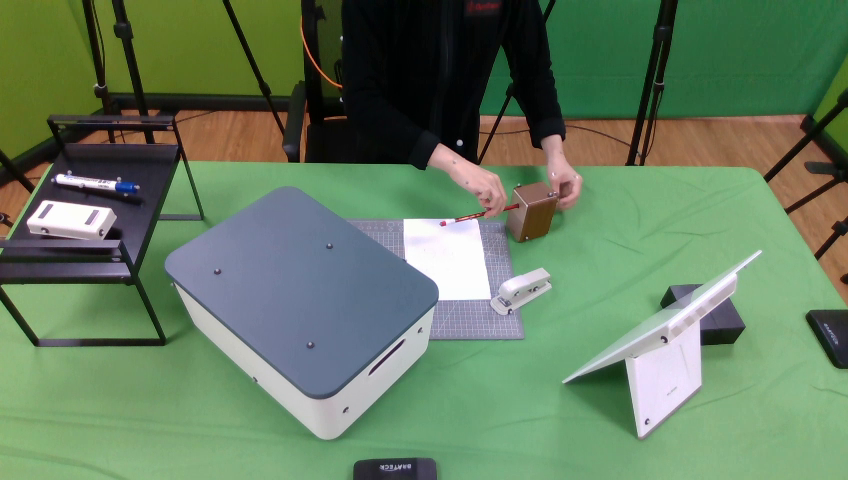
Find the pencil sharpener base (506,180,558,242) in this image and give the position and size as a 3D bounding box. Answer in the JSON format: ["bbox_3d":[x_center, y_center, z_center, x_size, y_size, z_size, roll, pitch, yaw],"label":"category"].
[{"bbox_3d":[0.216,-0.058,1.211,0.077,0.107,0.061,-16,49,-19],"label":"pencil sharpener base"}]

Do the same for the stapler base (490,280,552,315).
[{"bbox_3d":[0.181,0.094,1.118,0.130,0.024,0.041,-24,57,-29],"label":"stapler base"}]

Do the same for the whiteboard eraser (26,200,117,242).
[{"bbox_3d":[-0.532,-0.026,0.919,0.113,0.042,0.055,7,45,3],"label":"whiteboard eraser"}]

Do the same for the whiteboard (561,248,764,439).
[{"bbox_3d":[0.386,0.176,0.905,0.217,0.306,0.143,-26,72,-27],"label":"whiteboard"}]

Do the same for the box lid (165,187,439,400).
[{"bbox_3d":[-0.186,0.060,0.925,0.370,0.015,0.263,32,53,25],"label":"box lid"}]

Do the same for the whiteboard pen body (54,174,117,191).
[{"bbox_3d":[-0.541,-0.093,0.993,0.140,0.017,0.017,7,46,9],"label":"whiteboard pen body"}]

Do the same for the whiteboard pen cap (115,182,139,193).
[{"bbox_3d":[-0.483,-0.086,0.984,0.033,0.018,0.018,7,46,10],"label":"whiteboard pen cap"}]

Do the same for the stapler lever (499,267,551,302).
[{"bbox_3d":[0.185,0.076,1.101,0.118,0.040,0.026,-25,57,-29],"label":"stapler lever"}]

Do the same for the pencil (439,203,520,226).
[{"bbox_3d":[0.117,-0.051,1.152,0.194,0.012,0.012,-14,49,-21],"label":"pencil"}]

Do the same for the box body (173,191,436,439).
[{"bbox_3d":[-0.191,0.110,0.979,0.362,0.161,0.254,33,53,24],"label":"box body"}]

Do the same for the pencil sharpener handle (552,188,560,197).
[{"bbox_3d":[0.261,-0.085,1.222,0.031,0.068,0.036,-16,71,-19],"label":"pencil sharpener handle"}]
